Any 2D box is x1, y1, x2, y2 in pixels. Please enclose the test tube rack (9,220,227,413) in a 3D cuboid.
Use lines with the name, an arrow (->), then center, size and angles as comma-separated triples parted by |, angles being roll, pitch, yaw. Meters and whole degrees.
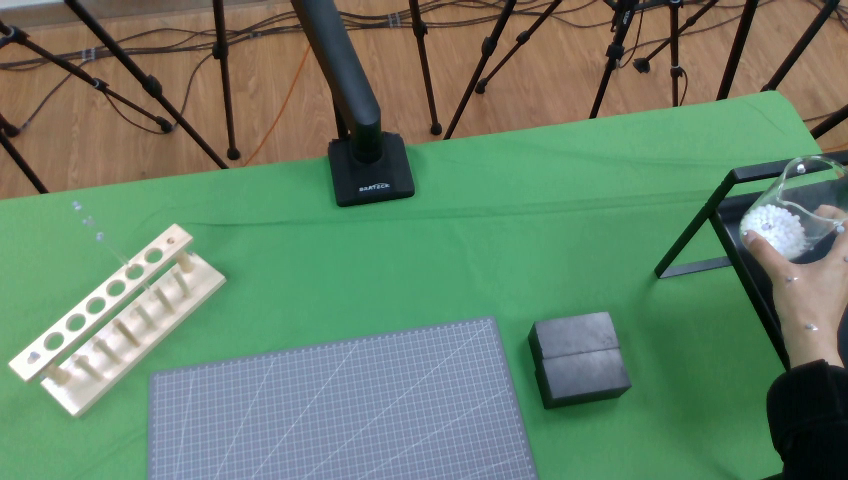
test tube rack -> -0.369, 0.093, 0.758 | 0.066, 0.086, 0.242 | 35, 65, 17

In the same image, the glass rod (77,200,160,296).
glass rod -> -0.361, 0.016, 0.726 | 0.008, 0.201, 0.008 | -2, 55, 3

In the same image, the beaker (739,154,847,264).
beaker -> 0.367, -0.025, 0.604 | 0.084, 0.101, 0.073 | -12, 63, -7
